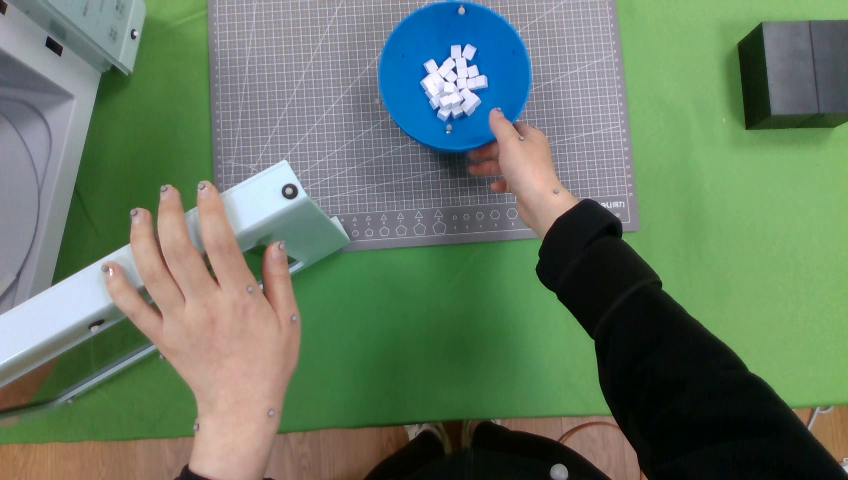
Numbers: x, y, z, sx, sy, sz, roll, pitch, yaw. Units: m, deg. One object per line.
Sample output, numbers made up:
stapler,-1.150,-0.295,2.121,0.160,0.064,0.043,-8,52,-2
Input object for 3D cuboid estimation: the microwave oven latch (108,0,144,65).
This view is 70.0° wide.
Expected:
microwave oven latch,-0.315,-0.227,0.631,0.030,0.029,0.079,12,85,0

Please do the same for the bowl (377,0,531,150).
bowl,0.029,-0.158,0.623,0.151,0.077,0.151,0,84,0

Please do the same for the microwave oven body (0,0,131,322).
microwave oven body,-0.491,-0.090,0.517,0.326,0.260,0.440,10,84,0

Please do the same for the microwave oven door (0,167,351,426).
microwave oven door,-0.236,0.059,0.500,0.356,0.244,0.039,-30,84,-4
